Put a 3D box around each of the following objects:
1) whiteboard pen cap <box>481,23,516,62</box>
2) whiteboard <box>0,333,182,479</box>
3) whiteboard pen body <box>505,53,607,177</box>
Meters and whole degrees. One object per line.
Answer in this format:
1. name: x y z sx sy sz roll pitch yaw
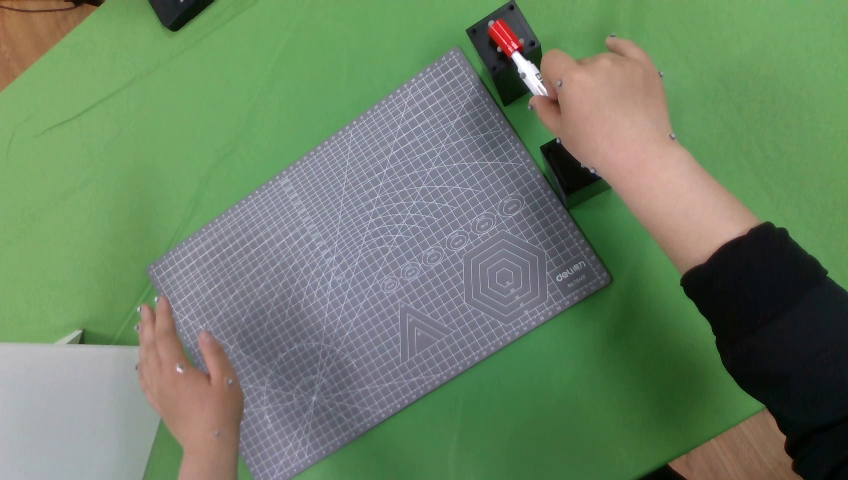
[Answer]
1. whiteboard pen cap: 0.066 -0.174 0.534 0.017 0.017 0.032 -37 80 9
2. whiteboard: -0.451 0.191 0.626 0.142 0.308 0.217 19 91 34
3. whiteboard pen body: 0.110 -0.111 0.521 0.017 0.017 0.140 -37 80 9
